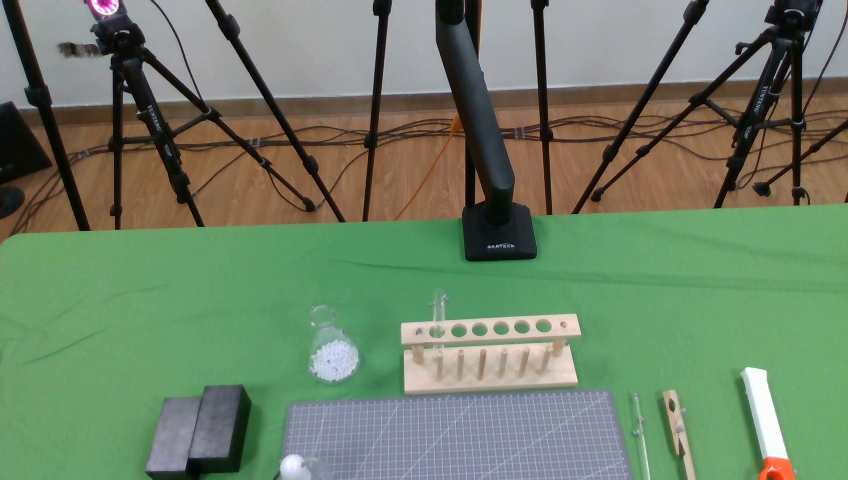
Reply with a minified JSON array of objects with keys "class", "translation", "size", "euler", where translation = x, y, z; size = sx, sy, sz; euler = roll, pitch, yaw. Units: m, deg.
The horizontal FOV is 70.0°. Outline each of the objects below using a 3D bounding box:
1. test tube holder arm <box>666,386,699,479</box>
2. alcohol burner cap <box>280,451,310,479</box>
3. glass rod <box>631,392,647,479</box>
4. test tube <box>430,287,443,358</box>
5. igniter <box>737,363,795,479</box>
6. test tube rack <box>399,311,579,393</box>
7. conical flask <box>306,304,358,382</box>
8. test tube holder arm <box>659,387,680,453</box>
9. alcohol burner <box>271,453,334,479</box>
[{"class":"test tube holder arm","translation":[0.336,0.271,0.779],"size":[0.013,0.015,0.176],"euler":[-27,43,27]},{"class":"alcohol burner cap","translation":[-0.149,0.260,0.693],"size":[0.034,0.048,0.033],"euler":[2,46,-1]},{"class":"glass rod","translation":[0.280,0.288,0.775],"size":[0.008,0.008,0.198],"euler":[3,52,4]},{"class":"test tube","translation":[0.017,0.115,0.817],"size":[0.017,0.151,0.017],"euler":[0,47,0]},{"class":"igniter","translation":[0.441,0.281,0.762],"size":[0.057,0.025,0.274],"euler":[10,50,-2]},{"class":"test tube rack","translation":[0.089,0.157,0.844],"size":[0.242,0.086,0.066],"euler":[-3,49,-1]},{"class":"conical flask","translation":[-0.135,0.138,0.843],"size":[0.075,0.123,0.074],"euler":[-1,49,1]},{"class":"test tube holder arm","translation":[0.332,0.240,0.810],"size":[0.010,0.015,0.087],"euler":[-26,43,28]},{"class":"alcohol burner","translation":[-0.148,0.285,0.719],"size":[0.078,0.120,0.077],"euler":[-2,49,3]}]
